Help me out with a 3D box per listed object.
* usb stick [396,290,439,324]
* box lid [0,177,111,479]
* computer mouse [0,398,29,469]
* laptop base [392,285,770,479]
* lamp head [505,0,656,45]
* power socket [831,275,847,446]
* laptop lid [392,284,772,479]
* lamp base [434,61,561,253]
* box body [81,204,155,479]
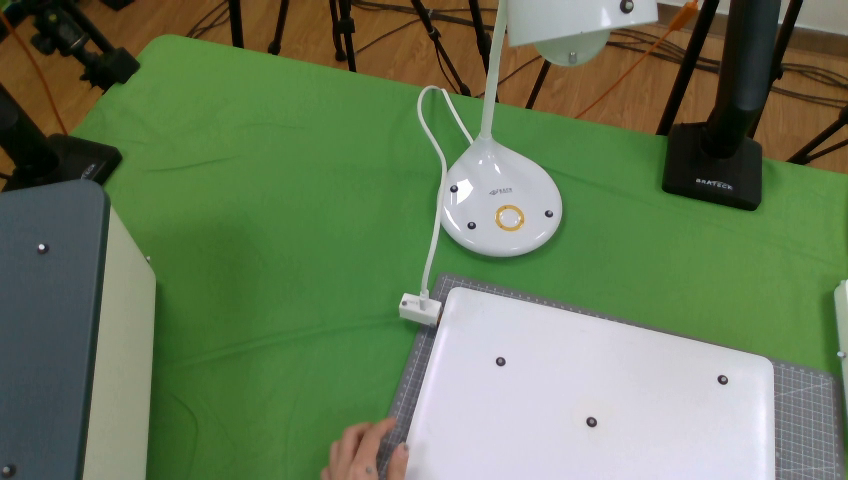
[{"bbox_3d":[-0.001,0.077,0.678,0.059,0.027,0.021,17,54,8],"label":"usb stick"},{"bbox_3d":[-0.410,0.105,0.507,0.263,0.015,0.367,-10,58,-5],"label":"box lid"},{"bbox_3d":[-0.435,0.197,0.596,0.063,0.041,0.116,-36,23,-10],"label":"computer mouse"},{"bbox_3d":[0.166,0.185,0.620,0.353,0.023,0.234,12,62,9],"label":"laptop base"},{"bbox_3d":[0.108,-0.213,0.450,0.112,0.112,0.123,-12,101,-7],"label":"lamp head"},{"bbox_3d":[0.482,0.134,0.641,0.072,0.033,0.225,13,58,8],"label":"power socket"},{"bbox_3d":[0.165,0.181,0.609,0.356,0.013,0.240,14,61,10],"label":"laptop lid"},{"bbox_3d":[0.086,-0.104,0.713,0.161,0.182,0.177,-19,56,-11],"label":"lamp base"},{"bbox_3d":[-0.409,0.147,0.568,0.254,0.162,0.360,-10,57,-6],"label":"box body"}]
